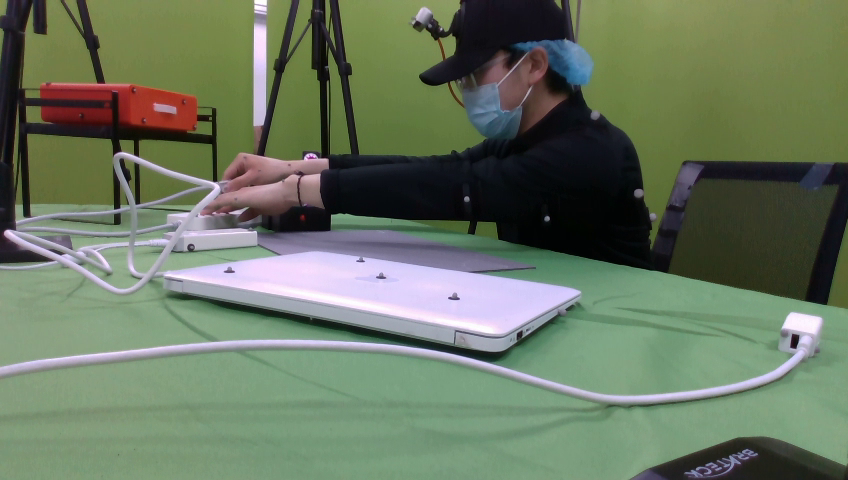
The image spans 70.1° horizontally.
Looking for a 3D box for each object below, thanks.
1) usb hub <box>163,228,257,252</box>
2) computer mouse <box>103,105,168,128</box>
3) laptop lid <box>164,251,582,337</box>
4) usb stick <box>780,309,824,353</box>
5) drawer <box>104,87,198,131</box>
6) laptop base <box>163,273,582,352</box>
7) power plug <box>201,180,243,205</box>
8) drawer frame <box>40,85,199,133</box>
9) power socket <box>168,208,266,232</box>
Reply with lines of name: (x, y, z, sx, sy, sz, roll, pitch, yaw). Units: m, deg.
usb hub: (-0.313, -0.001, 0.894, 0.049, 0.025, 0.126, 9, 11, 41)
computer mouse: (-0.582, -0.249, 1.223, 0.118, 0.041, 0.062, 2, 3, -39)
laptop lid: (-0.045, 0.040, 0.599, 0.355, 0.013, 0.243, 7, 7, 30)
usb stick: (0.311, 0.072, 0.496, 0.027, 0.021, 0.059, 7, 15, 34)
drawer: (-0.609, -0.264, 1.235, 0.211, 0.073, 0.195, 3, 8, 16)
laptop base: (-0.046, 0.052, 0.598, 0.353, 0.023, 0.236, 6, 6, 28)
power plug: (-0.391, -0.089, 1.184, 0.072, 0.052, 0.035, -14, 11, -1)
drawer frame: (-0.612, -0.266, 1.235, 0.213, 0.082, 0.202, 4, 8, 15)
power socket: (-0.380, -0.038, 1.130, 0.072, 0.032, 0.227, 4, 8, 19)
